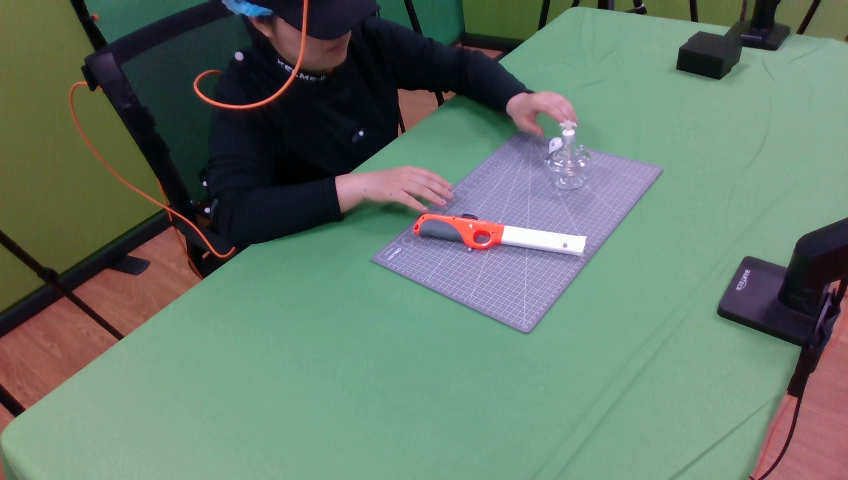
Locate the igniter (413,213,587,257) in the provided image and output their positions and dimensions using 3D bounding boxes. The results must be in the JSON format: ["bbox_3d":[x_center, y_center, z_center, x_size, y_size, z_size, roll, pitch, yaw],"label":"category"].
[{"bbox_3d":[0.116,-0.009,0.959,0.275,0.025,0.057,8,65,17],"label":"igniter"}]

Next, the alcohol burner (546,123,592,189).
[{"bbox_3d":[0.248,-0.147,1.034,0.078,0.120,0.077,-7,41,6],"label":"alcohol burner"}]

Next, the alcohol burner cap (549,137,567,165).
[{"bbox_3d":[0.247,-0.166,1.114,0.034,0.048,0.033,-6,40,5],"label":"alcohol burner cap"}]
